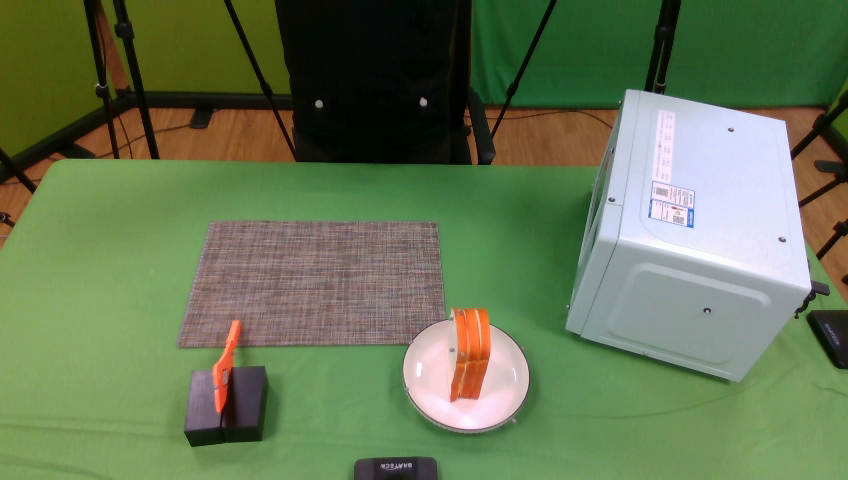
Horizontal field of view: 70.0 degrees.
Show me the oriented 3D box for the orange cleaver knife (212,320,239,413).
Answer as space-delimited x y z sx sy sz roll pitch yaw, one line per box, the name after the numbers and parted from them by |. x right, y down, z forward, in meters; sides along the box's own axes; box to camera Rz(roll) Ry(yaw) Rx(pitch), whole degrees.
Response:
-0.306 0.190 0.944 0.012 0.077 0.210 -5 17 -7 | orange cleaver knife

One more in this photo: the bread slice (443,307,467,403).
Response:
0.048 0.171 0.948 0.018 0.135 0.106 0 42 -7 | bread slice

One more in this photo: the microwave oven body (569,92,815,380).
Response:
0.468 -0.022 1.082 0.325 0.261 0.440 15 46 11 | microwave oven body

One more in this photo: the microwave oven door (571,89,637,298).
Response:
0.343 -0.091 1.133 0.039 0.245 0.354 15 47 10 | microwave oven door

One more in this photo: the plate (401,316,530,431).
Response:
0.066 0.217 0.982 0.208 0.039 0.206 2 46 -2 | plate

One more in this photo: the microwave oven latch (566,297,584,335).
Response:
0.268 0.126 1.059 0.030 0.029 0.079 16 46 12 | microwave oven latch
